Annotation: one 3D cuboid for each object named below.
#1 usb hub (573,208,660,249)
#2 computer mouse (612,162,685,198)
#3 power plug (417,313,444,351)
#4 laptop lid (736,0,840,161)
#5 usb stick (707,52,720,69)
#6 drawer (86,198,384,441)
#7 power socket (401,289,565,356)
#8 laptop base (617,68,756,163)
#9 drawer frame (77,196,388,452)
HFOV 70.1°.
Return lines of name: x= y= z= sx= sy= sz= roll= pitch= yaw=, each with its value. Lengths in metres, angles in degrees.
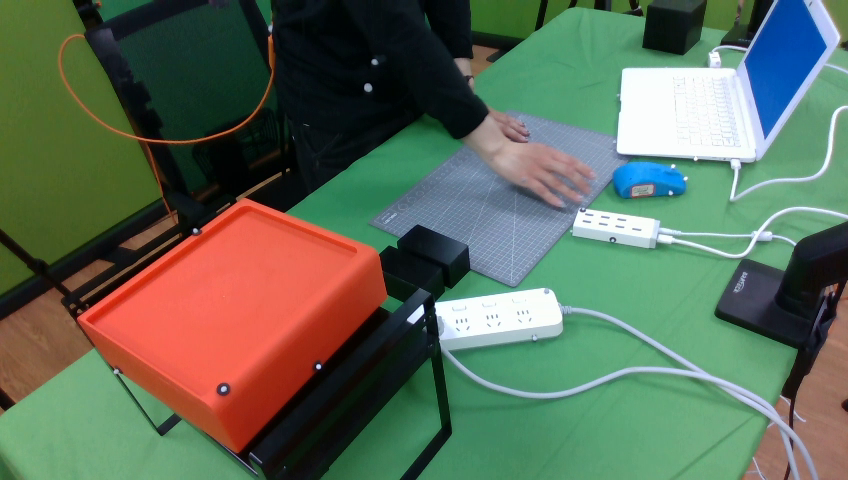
usb hub: x=0.302 y=-0.019 z=0.949 sx=0.124 sy=0.025 sz=0.049 roll=11 pitch=43 yaw=20
computer mouse: x=0.382 y=-0.103 z=1.027 sx=0.117 sy=0.041 sz=0.062 roll=0 pitch=39 yaw=2
power plug: x=0.007 y=0.127 z=0.786 sx=0.035 sy=0.053 sz=0.072 roll=0 pitch=43 yaw=8
laptop lid: x=0.641 y=-0.327 z=1.090 sx=0.013 sy=0.242 sz=0.356 roll=16 pitch=43 yaw=5
usb stick: x=0.629 y=-0.382 z=1.313 sx=0.021 sy=0.027 sz=0.059 roll=2 pitch=46 yaw=17
drawer: x=-0.180 y=0.064 z=0.600 sx=0.193 sy=0.073 sz=0.212 roll=21 pitch=48 yaw=28
power socket: x=0.081 y=0.112 z=0.822 sx=0.227 sy=0.033 sz=0.072 roll=-7 pitch=41 yaw=0
laptop base: x=0.509 y=-0.255 z=1.201 sx=0.234 sy=0.023 sz=0.353 roll=4 pitch=41 yaw=16
drawer frame: x=-0.179 y=0.066 z=0.598 sx=0.200 sy=0.083 sz=0.214 roll=20 pitch=48 yaw=28
